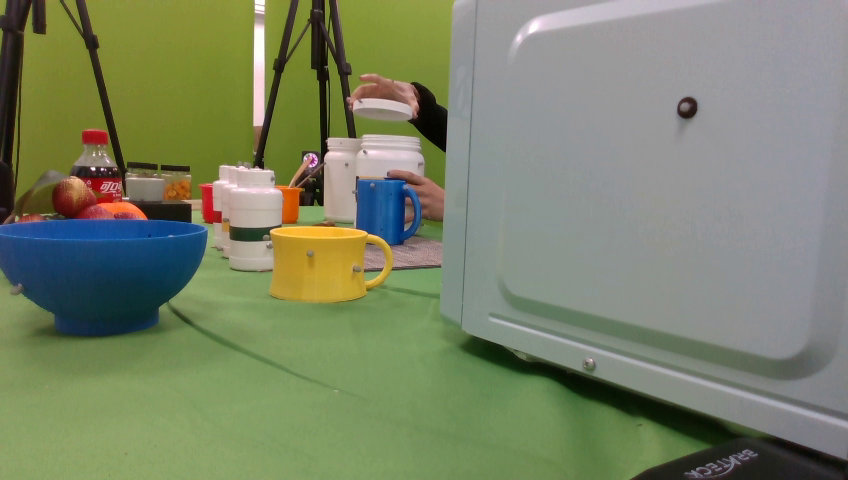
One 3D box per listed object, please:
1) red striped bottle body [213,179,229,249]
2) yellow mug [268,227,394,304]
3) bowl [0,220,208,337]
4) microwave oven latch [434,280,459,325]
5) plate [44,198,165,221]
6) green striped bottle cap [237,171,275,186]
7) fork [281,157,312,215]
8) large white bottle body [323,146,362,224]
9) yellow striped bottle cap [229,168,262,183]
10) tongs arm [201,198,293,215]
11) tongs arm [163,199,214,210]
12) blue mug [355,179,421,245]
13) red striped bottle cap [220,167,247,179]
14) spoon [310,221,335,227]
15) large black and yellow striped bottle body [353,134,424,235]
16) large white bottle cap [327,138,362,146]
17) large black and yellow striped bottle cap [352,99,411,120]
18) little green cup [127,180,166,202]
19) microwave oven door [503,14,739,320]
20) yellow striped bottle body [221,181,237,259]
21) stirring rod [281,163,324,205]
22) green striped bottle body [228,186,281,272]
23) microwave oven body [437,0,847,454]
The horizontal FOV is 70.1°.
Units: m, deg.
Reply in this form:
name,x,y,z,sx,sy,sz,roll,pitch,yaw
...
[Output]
name,x,y,z,sx,sy,sz,roll,pitch,yaw
red striped bottle body,-0.283,-0.047,0.908,0.063,0.119,0.063,2,8,0
yellow mug,-0.094,0.023,0.629,0.131,0.064,0.099,0,8,-22
bowl,-0.251,0.029,0.479,0.151,0.077,0.151,2,7,0
microwave oven latch,0.044,0.045,0.470,0.079,0.029,0.030,-2,8,-39
plate,-0.617,-0.057,1.179,0.209,0.038,0.209,3,7,0
green striped bottle cap,-0.206,-0.075,0.738,0.044,0.020,0.044,1,8,0
fork,-0.289,-0.116,1.321,0.028,0.019,0.207,5,51,20
large white bottle body,-0.163,-0.134,1.369,0.131,0.184,0.130,2,7,0
yellow striped bottle cap,-0.240,-0.087,0.816,0.044,0.018,0.044,-3,5,1
tongs arm,-0.423,-0.084,1.472,0.050,0.026,0.386,2,6,21
tongs arm,-0.504,-0.091,1.513,0.028,0.028,0.389,0,4,37
blue mug,-0.058,-0.047,1.004,0.116,0.106,0.082,6,9,24
red striped bottle cap,-0.281,-0.100,0.901,0.044,0.017,0.044,-1,5,0
spoon,-0.185,-0.027,1.131,0.041,0.021,0.193,-19,6,2
large black and yellow striped bottle body,-0.066,-0.105,1.144,0.131,0.184,0.130,3,8,0
large white bottle cap,-0.160,-0.218,1.357,0.115,0.018,0.115,2,8,0
large black and yellow striped bottle cap,-0.082,-0.250,1.164,0.115,0.019,0.115,4,1,0
little green cup,-0.486,-0.086,1.061,0.061,0.038,0.061,1,7,0
microwave oven door,0.218,-0.065,0.600,0.358,0.243,0.039,-4,10,-41
yellow striped bottle body,-0.244,-0.035,0.823,0.063,0.120,0.063,2,8,0
stirring rod,-0.278,-0.104,1.293,0.176,0.006,0.014,-47,25,-18
green striped bottle body,-0.208,-0.023,0.745,0.063,0.119,0.063,2,7,0
microwave oven body,0.279,-0.040,0.464,0.444,0.260,0.324,-3,9,-41
